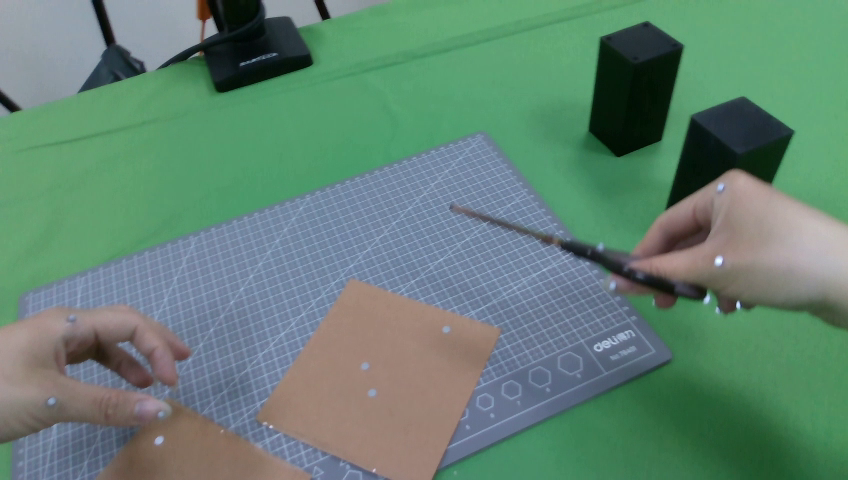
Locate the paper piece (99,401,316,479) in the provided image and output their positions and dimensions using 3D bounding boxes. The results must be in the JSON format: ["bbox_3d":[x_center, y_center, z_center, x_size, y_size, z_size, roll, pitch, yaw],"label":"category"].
[{"bbox_3d":[-0.161,0.181,0.382,0.135,0.009,0.137,17,52,25],"label":"paper piece"}]

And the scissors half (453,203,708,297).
[{"bbox_3d":[0.098,0.004,0.403,0.174,0.013,0.040,21,15,15],"label":"scissors half"}]

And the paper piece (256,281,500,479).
[{"bbox_3d":[-0.030,0.098,0.438,0.134,0.004,0.135,16,52,22],"label":"paper piece"}]

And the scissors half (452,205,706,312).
[{"bbox_3d":[0.089,0.006,0.385,0.173,0.040,0.013,24,101,31],"label":"scissors half"}]
